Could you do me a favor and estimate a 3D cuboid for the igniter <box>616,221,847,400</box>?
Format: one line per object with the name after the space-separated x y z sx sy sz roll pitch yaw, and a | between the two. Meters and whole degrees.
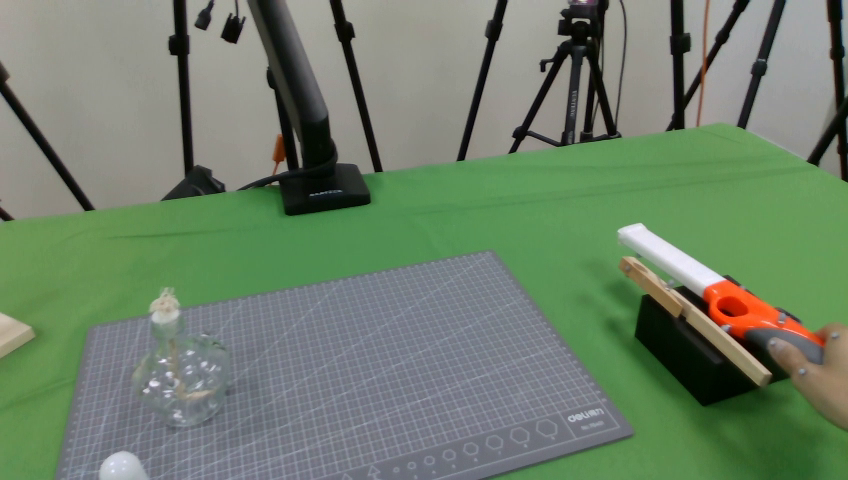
0.273 0.050 0.559 0.057 0.025 0.273 -16 32 -15 | igniter

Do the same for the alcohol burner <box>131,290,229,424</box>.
-0.205 0.093 0.502 0.078 0.120 0.077 -1 30 1 | alcohol burner

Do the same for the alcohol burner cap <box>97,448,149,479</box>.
-0.221 0.173 0.441 0.034 0.048 0.033 0 32 0 | alcohol burner cap

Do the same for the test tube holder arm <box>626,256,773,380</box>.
0.238 0.063 0.545 0.013 0.015 0.176 -12 33 -21 | test tube holder arm

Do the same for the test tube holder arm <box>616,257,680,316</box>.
0.215 0.043 0.578 0.010 0.015 0.087 -11 33 -20 | test tube holder arm

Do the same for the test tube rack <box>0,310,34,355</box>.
-0.481 0.109 0.514 0.066 0.086 0.242 15 35 24 | test tube rack
